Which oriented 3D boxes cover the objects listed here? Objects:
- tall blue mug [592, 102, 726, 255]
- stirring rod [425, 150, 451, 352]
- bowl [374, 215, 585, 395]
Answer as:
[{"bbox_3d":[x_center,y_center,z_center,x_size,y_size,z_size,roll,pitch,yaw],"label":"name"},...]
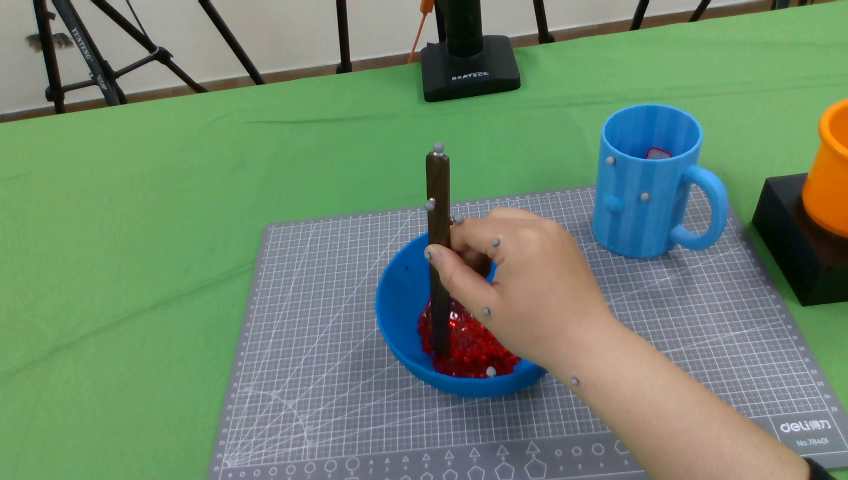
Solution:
[{"bbox_3d":[0.199,-0.047,0.510,0.106,0.109,0.077,14,50,22],"label":"tall blue mug"},{"bbox_3d":[0.010,0.016,0.387,0.014,0.178,0.006,13,46,16],"label":"stirring rod"},{"bbox_3d":[0.043,0.061,0.458,0.151,0.077,0.150,-5,46,6],"label":"bowl"}]
